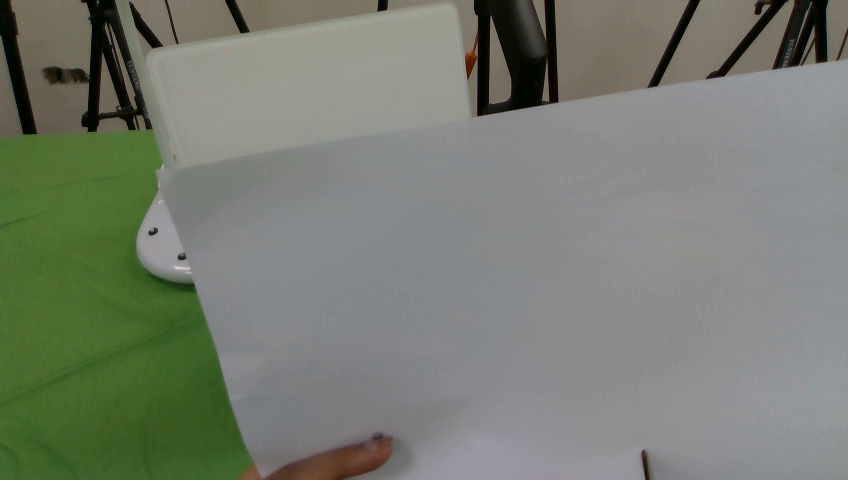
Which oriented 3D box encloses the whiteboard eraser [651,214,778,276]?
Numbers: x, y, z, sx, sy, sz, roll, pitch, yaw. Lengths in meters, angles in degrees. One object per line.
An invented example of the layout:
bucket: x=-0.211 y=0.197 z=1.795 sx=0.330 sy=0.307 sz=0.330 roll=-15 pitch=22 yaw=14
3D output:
whiteboard eraser: x=0.299 y=0.006 z=0.628 sx=0.113 sy=0.042 sz=0.055 roll=-8 pitch=41 yaw=-8

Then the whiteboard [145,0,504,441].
whiteboard: x=-0.074 y=-0.027 z=0.521 sx=0.218 sy=0.307 sz=0.142 roll=-16 pitch=22 yaw=-16

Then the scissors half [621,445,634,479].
scissors half: x=0.111 y=0.174 z=0.289 sx=0.013 sy=0.176 sz=0.040 roll=-14 pitch=14 yaw=7

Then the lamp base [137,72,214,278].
lamp base: x=-0.250 y=-0.077 z=0.642 sx=0.177 sy=0.182 sz=0.160 roll=25 pitch=46 yaw=32

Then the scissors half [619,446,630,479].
scissors half: x=0.107 y=0.177 z=0.270 sx=0.013 sy=0.175 sz=0.040 roll=-13 pitch=-2 yaw=13
